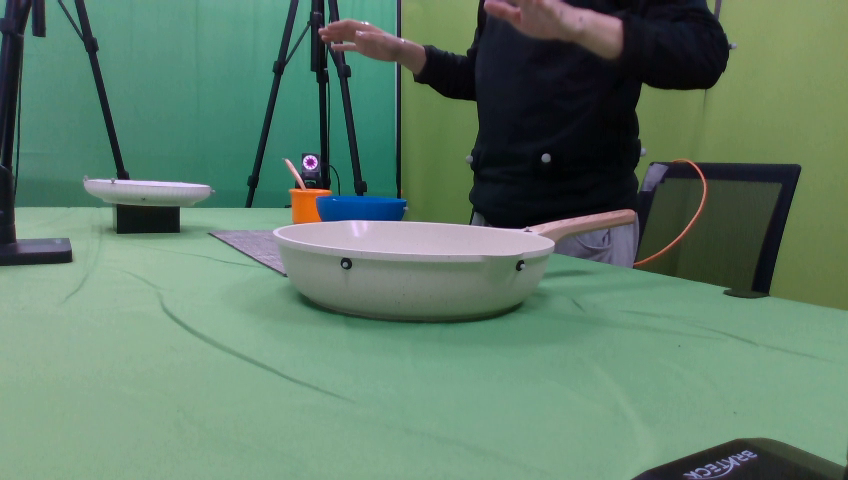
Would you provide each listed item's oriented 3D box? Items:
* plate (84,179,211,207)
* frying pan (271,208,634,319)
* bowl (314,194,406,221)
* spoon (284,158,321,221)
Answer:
[{"bbox_3d":[-0.495,-0.085,1.093,0.208,0.039,0.207,4,7,0],"label":"plate"},{"bbox_3d":[0.076,0.003,0.695,0.490,0.102,0.305,-12,14,-30],"label":"frying pan"},{"bbox_3d":[-0.105,-0.032,0.991,0.151,0.077,0.151,2,7,0],"label":"bowl"},{"bbox_3d":[-0.269,-0.113,1.336,0.042,0.193,0.021,-4,-35,-43],"label":"spoon"}]
